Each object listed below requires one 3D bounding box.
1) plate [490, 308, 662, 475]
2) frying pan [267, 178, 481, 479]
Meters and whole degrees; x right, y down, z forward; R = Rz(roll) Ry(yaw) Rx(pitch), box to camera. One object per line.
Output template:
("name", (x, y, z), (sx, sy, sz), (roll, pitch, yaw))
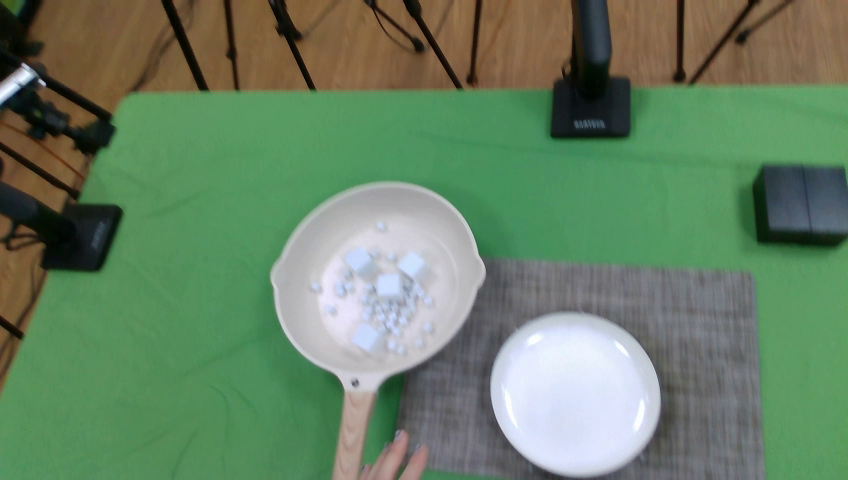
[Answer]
("plate", (0.189, 0.189, 0.767), (0.207, 0.039, 0.206), (-4, 65, 9))
("frying pan", (-0.079, 0.140, 0.804), (0.306, 0.104, 0.483), (-1, 57, 13))
